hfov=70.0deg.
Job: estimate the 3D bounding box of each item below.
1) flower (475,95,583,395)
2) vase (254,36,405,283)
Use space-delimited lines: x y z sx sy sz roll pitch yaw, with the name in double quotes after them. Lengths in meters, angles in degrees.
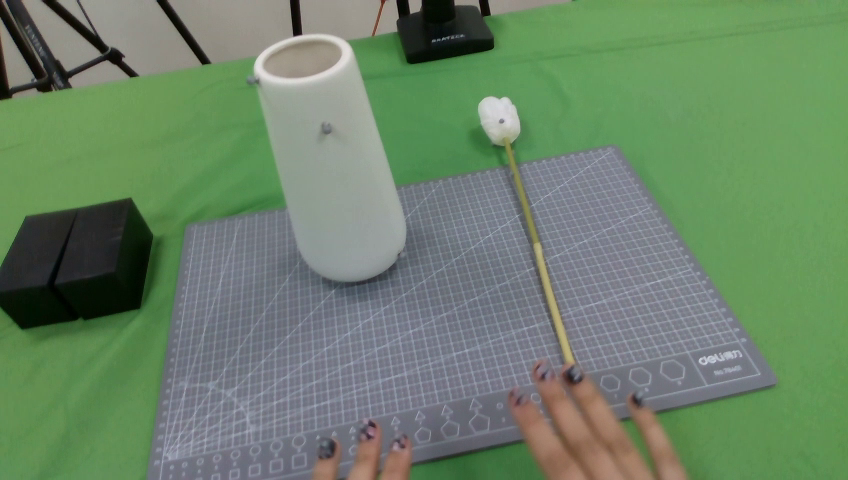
0.096 -0.020 0.566 0.044 0.038 0.357 17 43 -27 "flower"
-0.075 -0.057 0.491 0.098 0.202 0.097 -5 44 5 "vase"
